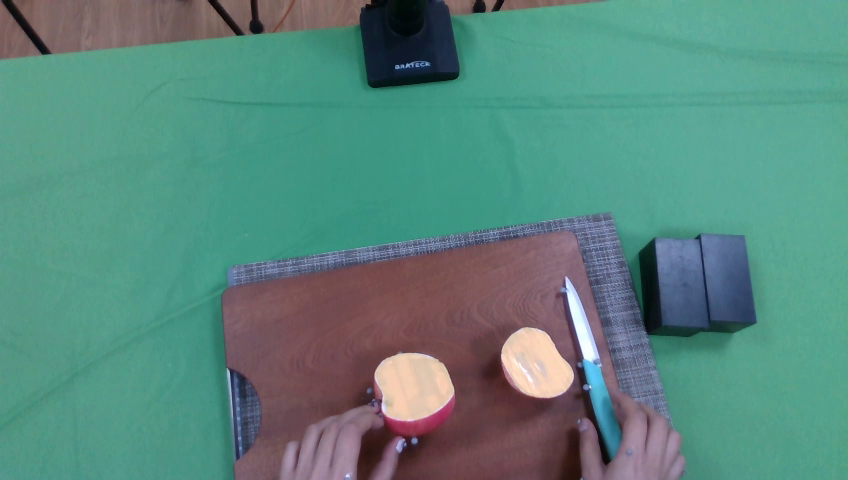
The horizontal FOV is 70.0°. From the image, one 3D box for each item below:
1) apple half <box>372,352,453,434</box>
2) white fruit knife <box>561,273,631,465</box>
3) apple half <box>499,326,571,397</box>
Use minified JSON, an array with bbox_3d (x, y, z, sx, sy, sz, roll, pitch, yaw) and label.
[{"bbox_3d":[-0.012,0.156,0.599,0.075,0.054,0.080,-13,43,-14],"label":"apple half"},{"bbox_3d":[0.175,0.131,0.637,0.027,0.016,0.206,1,66,-32],"label":"white fruit knife"},{"bbox_3d":[0.106,0.131,0.621,0.081,0.033,0.080,13,50,-15],"label":"apple half"}]
